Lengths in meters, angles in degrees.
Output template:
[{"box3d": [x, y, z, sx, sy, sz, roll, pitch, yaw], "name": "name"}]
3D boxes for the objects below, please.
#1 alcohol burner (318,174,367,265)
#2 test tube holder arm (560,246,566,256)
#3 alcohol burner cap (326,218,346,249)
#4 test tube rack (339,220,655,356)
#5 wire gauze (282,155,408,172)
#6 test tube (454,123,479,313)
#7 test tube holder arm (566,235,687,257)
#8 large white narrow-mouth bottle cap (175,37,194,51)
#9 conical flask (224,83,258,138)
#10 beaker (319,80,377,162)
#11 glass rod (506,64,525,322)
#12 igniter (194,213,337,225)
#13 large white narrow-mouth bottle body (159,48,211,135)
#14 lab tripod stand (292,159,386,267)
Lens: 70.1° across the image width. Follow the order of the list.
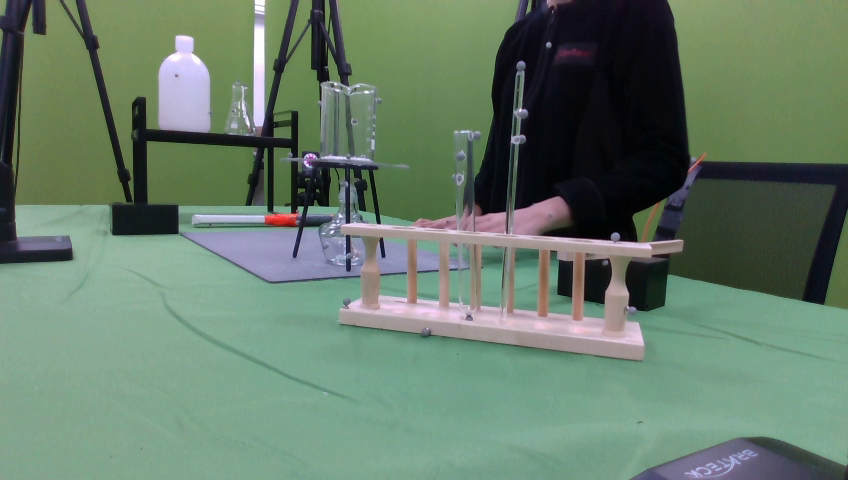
[{"box3d": [-0.100, -0.028, 0.790, 0.078, 0.119, 0.078, 0, 6, 0], "name": "alcohol burner"}, {"box3d": [0.173, 0.007, 0.611, 0.088, 0.015, 0.010, -3, 9, -30], "name": "test tube holder arm"}, {"box3d": [-0.133, -0.010, 0.927, 0.034, 0.048, 0.034, 6, 7, 0], "name": "alcohol burner cap"}, {"box3d": [0.056, 0.032, 0.495, 0.242, 0.085, 0.067, 4, 7, 15], "name": "test tube rack"}, {"box3d": [-0.104, -0.103, 0.785, 0.126, 0.011, 0.121, 1, 8, -39], "name": "wire gauze"}, {"box3d": [0.034, -0.016, 0.477, 0.017, 0.150, 0.017, -2, 9, 1], "name": "test tube"}, {"box3d": [0.215, 0.006, 0.630, 0.179, 0.015, 0.013, -3, 9, -31], "name": "test tube holder arm"}, {"box3d": [-0.501, -0.409, 1.264, 0.038, 0.024, 0.037, 2, 7, 0], "name": "large white narrow-mouth bottle cap"}, {"box3d": [-0.422, -0.299, 1.395, 0.075, 0.122, 0.075, 2, 7, 0], "name": "conical flask"}, {"box3d": [-0.098, -0.150, 0.777, 0.074, 0.100, 0.084, 1, 7, -7], "name": "beaker"}, {"box3d": [0.069, -0.030, 0.458, 0.008, 0.199, 0.008, 0, 15, 0], "name": "glass rod"}, {"box3d": [-0.306, -0.042, 1.196, 0.278, 0.025, 0.057, -2, -2, -31], "name": "igniter"}, {"box3d": [-0.503, -0.323, 1.275, 0.102, 0.194, 0.102, 2, 7, 0], "name": "large white narrow-mouth bottle body"}, {"box3d": [-0.105, -0.039, 0.798, 0.148, 0.131, 0.148, 2, 5, 0], "name": "lab tripod stand"}]
